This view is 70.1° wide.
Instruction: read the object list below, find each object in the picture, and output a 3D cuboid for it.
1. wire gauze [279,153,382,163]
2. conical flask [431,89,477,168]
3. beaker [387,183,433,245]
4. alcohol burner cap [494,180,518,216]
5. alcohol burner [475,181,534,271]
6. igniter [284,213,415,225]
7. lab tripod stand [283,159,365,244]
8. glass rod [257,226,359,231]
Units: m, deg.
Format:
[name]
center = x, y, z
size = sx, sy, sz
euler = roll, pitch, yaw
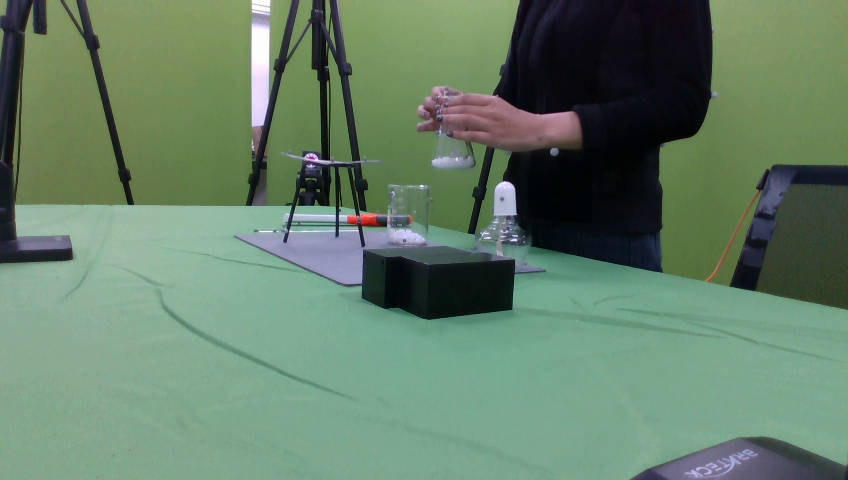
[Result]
[wire gauze]
center = -0.149, -0.129, 0.974
size = 0.124, 0.011, 0.122
euler = 10, 9, 41
[conical flask]
center = 0.049, -0.177, 0.966
size = 0.075, 0.122, 0.075
euler = 0, 8, 0
[beaker]
center = -0.027, -0.044, 1.012
size = 0.074, 0.100, 0.083
euler = -2, 8, -34
[alcohol burner cap]
center = 0.108, -0.055, 0.800
size = 0.034, 0.048, 0.034
euler = -2, 4, 0
[alcohol burner]
center = 0.108, -0.020, 0.804
size = 0.078, 0.119, 0.078
euler = 3, 5, 0
[igniter]
center = -0.154, -0.045, 1.282
size = 0.278, 0.025, 0.057
euler = 0, -3, -20
[lab tripod stand]
center = -0.151, -0.063, 0.983
size = 0.148, 0.131, 0.148
euler = 4, 7, 0
[glass rod]
center = -0.215, -0.022, 1.151
size = 0.201, 0.008, 0.008
euler = -2, 8, -28
